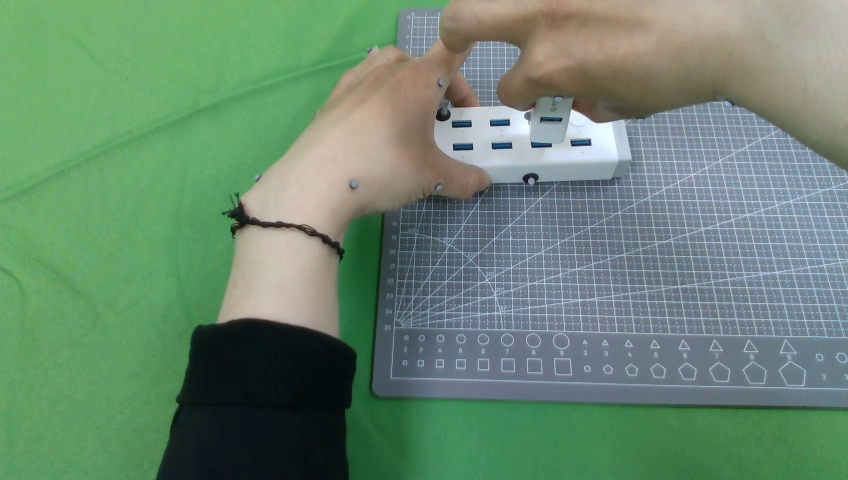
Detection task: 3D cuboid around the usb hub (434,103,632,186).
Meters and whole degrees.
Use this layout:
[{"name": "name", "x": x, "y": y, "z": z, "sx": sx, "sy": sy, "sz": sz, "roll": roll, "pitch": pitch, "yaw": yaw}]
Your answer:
[{"name": "usb hub", "x": 0.069, "y": -0.064, "z": 0.399, "sx": 0.125, "sy": 0.025, "sz": 0.049, "roll": -1, "pitch": 63, "yaw": 0}]

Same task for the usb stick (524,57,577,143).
[{"name": "usb stick", "x": 0.073, "y": -0.078, "z": 0.362, "sx": 0.021, "sy": 0.059, "sz": 0.027, "roll": 4, "pitch": 60, "yaw": -1}]
